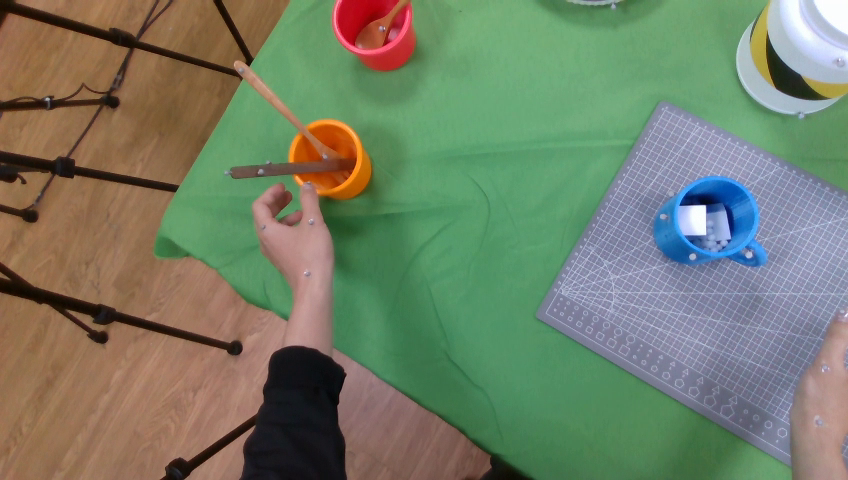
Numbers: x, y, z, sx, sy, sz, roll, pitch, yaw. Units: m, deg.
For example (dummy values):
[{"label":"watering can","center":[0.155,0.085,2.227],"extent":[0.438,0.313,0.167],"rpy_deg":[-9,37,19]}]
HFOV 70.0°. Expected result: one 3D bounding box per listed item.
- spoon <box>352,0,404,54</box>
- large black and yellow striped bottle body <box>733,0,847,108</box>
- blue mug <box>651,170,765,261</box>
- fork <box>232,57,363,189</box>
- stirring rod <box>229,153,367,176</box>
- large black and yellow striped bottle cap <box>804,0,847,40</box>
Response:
[{"label":"spoon","center":[-0.029,-0.279,0.715],"extent":[0.193,0.022,0.041],"rpy_deg":[-25,74,50]},{"label":"large black and yellow striped bottle body","center":[0.412,-0.224,0.619],"extent":[0.130,0.184,0.130],"rpy_deg":[-1,84,9]},{"label":"blue mug","center":[0.312,-0.015,0.655],"extent":[0.116,0.106,0.082],"rpy_deg":[38,91,10]},{"label":"fork","center":[-0.147,-0.135,0.718],"extent":[0.028,0.018,0.209],"rpy_deg":[-43,123,2]},{"label":"stirring rod","center":[-0.145,-0.090,0.720],"extent":[0.177,0.006,0.014],"rpy_deg":[-10,85,-35]},{"label":"large black and yellow striped bottle cap","center":[0.399,-0.234,0.537],"extent":[0.115,0.019,0.115],"rpy_deg":[-1,86,9]}]
